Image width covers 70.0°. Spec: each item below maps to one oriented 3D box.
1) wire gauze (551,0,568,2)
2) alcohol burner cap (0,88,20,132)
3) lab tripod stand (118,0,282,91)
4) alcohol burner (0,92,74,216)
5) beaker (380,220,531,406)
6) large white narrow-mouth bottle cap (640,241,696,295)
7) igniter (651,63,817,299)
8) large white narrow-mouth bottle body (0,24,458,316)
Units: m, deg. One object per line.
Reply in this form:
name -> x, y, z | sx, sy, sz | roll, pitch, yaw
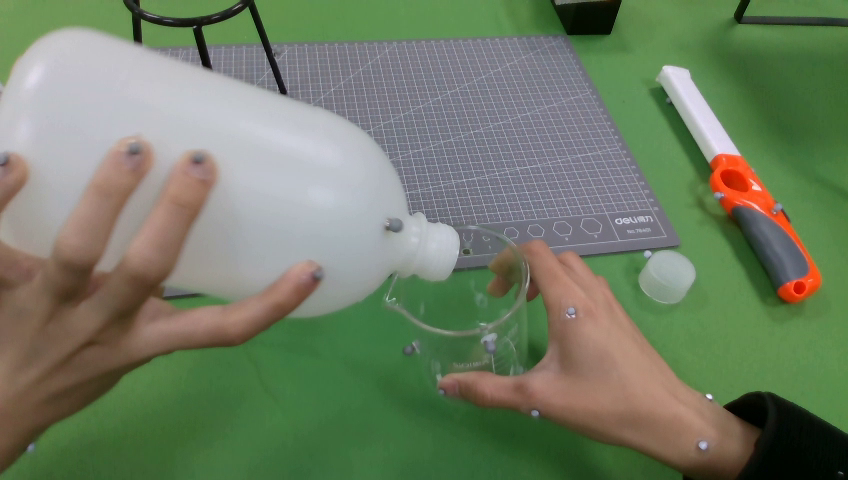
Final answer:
wire gauze -> 0.179, -0.295, 0.657 | 0.122, 0.011, 0.123 | -4, 52, -11
alcohol burner cap -> -0.294, -0.095, 0.396 | 0.034, 0.048, 0.033 | 2, 57, -3
lab tripod stand -> -0.169, -0.136, 0.471 | 0.148, 0.132, 0.147 | 4, 51, -5
alcohol burner -> -0.296, -0.074, 0.425 | 0.078, 0.120, 0.077 | 4, 49, -4
beaker -> 0.022, 0.049, 0.363 | 0.084, 0.101, 0.073 | -16, 50, -3
large white narrow-mouth bottle cap -> 0.184, 0.021, 0.458 | 0.038, 0.024, 0.037 | 3, 51, -3
igniter -> 0.263, -0.065, 0.530 | 0.057, 0.025, 0.273 | 3, 51, -17
large white narrow-mouth bottle body -> -0.075, -0.017, 0.280 | 0.196, 0.102, 0.101 | 16, 48, -21
